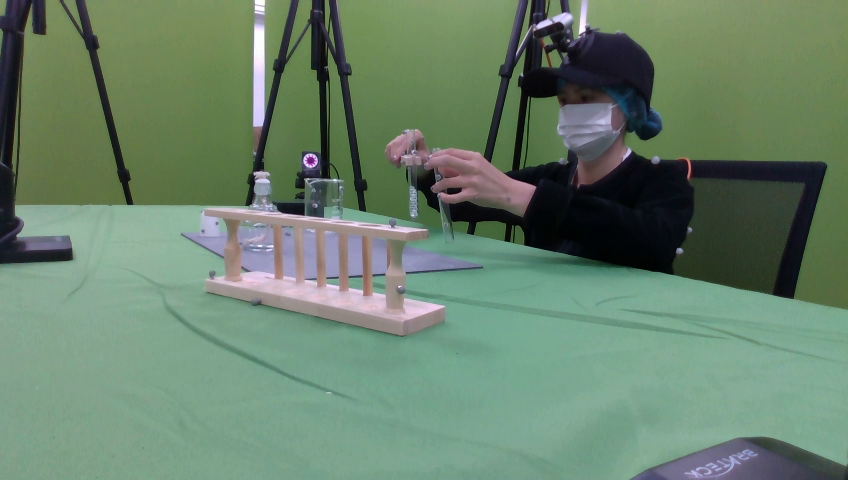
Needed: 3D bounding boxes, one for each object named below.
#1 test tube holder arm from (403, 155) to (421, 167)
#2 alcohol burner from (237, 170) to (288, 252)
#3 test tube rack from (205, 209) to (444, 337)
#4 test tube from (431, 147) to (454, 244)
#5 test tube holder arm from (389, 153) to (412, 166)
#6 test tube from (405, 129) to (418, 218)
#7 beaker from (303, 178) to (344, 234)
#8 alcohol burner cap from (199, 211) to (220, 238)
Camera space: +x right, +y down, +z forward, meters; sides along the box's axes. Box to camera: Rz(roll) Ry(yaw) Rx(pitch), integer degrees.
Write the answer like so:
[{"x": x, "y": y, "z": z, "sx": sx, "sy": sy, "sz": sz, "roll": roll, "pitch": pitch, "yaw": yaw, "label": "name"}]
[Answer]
[{"x": -0.025, "y": -0.136, "z": 1.041, "sx": 0.010, "sy": 0.015, "sz": 0.087, "roll": 1, "pitch": 11, "yaw": -22, "label": "test tube holder arm"}, {"x": -0.236, "y": -0.042, "z": 0.882, "sx": 0.078, "sy": 0.119, "sz": 0.078, "roll": 2, "pitch": 9, "yaw": 0, "label": "alcohol burner"}, {"x": -0.100, "y": 0.021, "z": 0.565, "sx": 0.241, "sy": 0.085, "sz": 0.067, "roll": 7, "pitch": 8, "yaw": 32, "label": "test tube rack"}, {"x": 0.028, "y": -0.068, "z": 0.928, "sx": 0.017, "sy": 0.150, "sz": 0.017, "roll": -8, "pitch": 0, "yaw": 0, "label": "test tube"}, {"x": -0.043, "y": -0.145, "z": 1.081, "sx": 0.013, "sy": 0.015, "sz": 0.178, "roll": 3, "pitch": 10, "yaw": -16, "label": "test tube holder arm"}, {"x": -0.021, "y": -0.112, "z": 1.021, "sx": 0.017, "sy": 0.150, "sz": 0.017, "roll": -2, "pitch": 10, "yaw": 1, "label": "test tube"}, {"x": -0.189, "y": -0.063, "z": 1.119, "sx": 0.073, "sy": 0.100, "sz": 0.084, "roll": 6, "pitch": 9, "yaw": 28, "label": "beaker"}, {"x": -0.356, "y": -0.027, "z": 1.002, "sx": 0.034, "sy": 0.048, "sz": 0.034, "roll": 2, "pitch": 7, "yaw": 0, "label": "alcohol burner cap"}]
